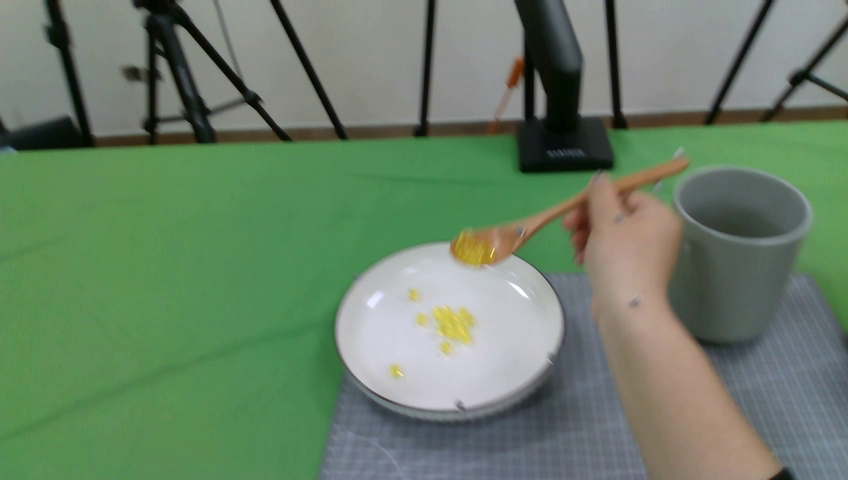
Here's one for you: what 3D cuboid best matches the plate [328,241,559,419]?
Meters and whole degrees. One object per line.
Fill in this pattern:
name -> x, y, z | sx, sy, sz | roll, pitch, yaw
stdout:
plate -> 0.018, 0.081, 0.559 | 0.207, 0.039, 0.205 | -3, 40, 3

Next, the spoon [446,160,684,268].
spoon -> 0.109, -0.022, 0.468 | 0.194, 0.022, 0.041 | -24, 41, 5

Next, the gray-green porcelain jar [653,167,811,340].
gray-green porcelain jar -> 0.263, 0.017, 0.534 | 0.106, 0.128, 0.105 | -4, 40, 3
